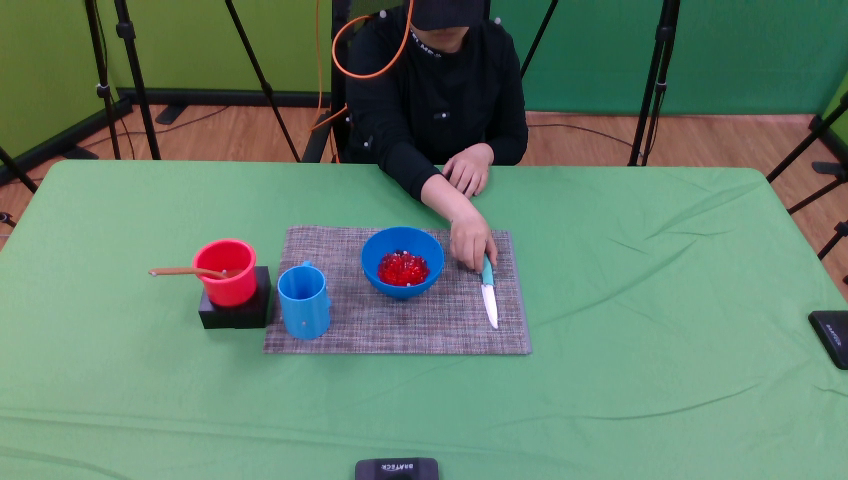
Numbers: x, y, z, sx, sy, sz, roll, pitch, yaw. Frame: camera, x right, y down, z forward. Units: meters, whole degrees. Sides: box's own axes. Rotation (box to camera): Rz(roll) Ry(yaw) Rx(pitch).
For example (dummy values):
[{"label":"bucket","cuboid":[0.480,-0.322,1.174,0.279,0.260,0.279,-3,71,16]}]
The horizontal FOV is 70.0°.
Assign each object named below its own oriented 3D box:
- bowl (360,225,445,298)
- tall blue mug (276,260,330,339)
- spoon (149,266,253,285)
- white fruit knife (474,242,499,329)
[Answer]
[{"label":"bowl","cuboid":[-0.040,0.053,1.099,0.151,0.077,0.150,2,46,-2]},{"label":"tall blue mug","cuboid":[-0.208,0.094,1.025,0.078,0.108,0.106,-21,51,-21]},{"label":"spoon","cuboid":[-0.351,0.052,0.968,0.041,0.021,0.194,41,13,28]},{"label":"white fruit knife","cuboid":[0.119,0.080,1.129,0.027,0.016,0.206,-21,46,16]}]
